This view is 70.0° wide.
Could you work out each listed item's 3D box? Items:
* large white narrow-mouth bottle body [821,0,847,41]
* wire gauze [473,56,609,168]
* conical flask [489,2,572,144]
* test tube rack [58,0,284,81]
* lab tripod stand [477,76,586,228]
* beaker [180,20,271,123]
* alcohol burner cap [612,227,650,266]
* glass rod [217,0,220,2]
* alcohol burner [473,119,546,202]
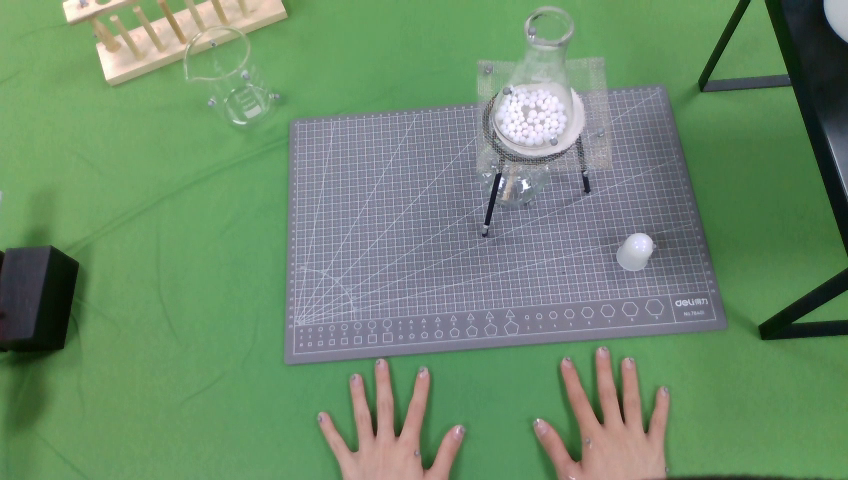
[{"bbox_3d":[0.385,-0.236,0.436,0.102,0.196,0.101,-1,66,3],"label":"large white narrow-mouth bottle body"},{"bbox_3d":[0.106,-0.122,0.561,0.121,0.011,0.124,1,66,2],"label":"wire gauze"},{"bbox_3d":[0.094,-0.140,0.505,0.075,0.123,0.075,-1,68,3],"label":"conical flask"},{"bbox_3d":[-0.310,-0.293,0.757,0.242,0.086,0.066,-24,68,-6],"label":"test tube rack"},{"bbox_3d":[0.103,-0.092,0.620,0.148,0.132,0.147,-1,66,2],"label":"lab tripod stand"},{"bbox_3d":[-0.227,-0.189,0.703,0.073,0.101,0.084,41,76,18],"label":"beaker"},{"bbox_3d":[0.215,0.004,0.624,0.034,0.048,0.033,-1,68,4],"label":"alcohol burner cap"},{"bbox_3d":[-0.269,-0.355,0.708,0.008,0.201,0.008,1,66,-1],"label":"glass rod"},{"bbox_3d":[0.091,-0.089,0.631,0.078,0.120,0.077,-1,67,2],"label":"alcohol burner"}]
